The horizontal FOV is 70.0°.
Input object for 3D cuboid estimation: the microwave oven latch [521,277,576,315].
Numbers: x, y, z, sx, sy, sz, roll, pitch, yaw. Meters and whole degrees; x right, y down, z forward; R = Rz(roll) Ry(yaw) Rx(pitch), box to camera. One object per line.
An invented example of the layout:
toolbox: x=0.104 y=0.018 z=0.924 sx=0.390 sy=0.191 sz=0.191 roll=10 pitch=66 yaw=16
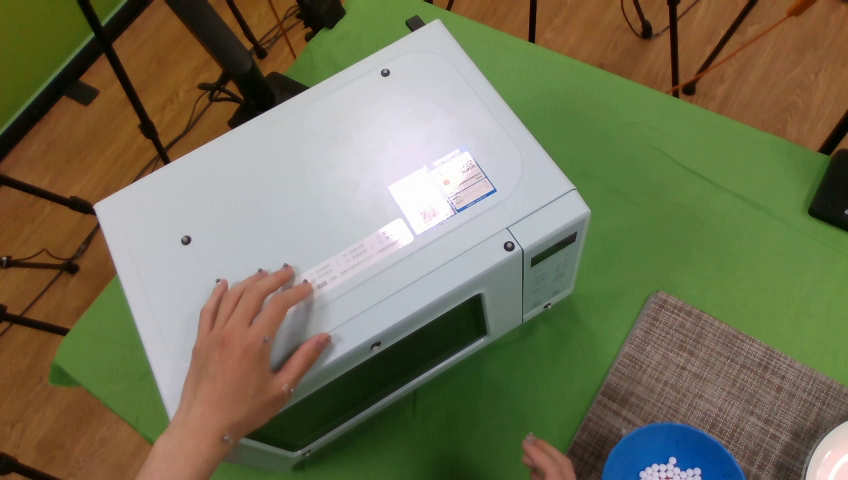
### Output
microwave oven latch: x=0.154 y=0.064 z=0.772 sx=0.079 sy=0.030 sz=0.030 roll=-29 pitch=66 yaw=-4

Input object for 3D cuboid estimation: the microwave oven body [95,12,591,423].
microwave oven body: x=-0.085 y=0.001 z=0.729 sx=0.442 sy=0.262 sz=0.323 roll=-31 pitch=66 yaw=-5

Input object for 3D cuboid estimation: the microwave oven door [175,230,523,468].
microwave oven door: x=-0.051 y=0.131 z=0.660 sx=0.356 sy=0.246 sz=0.039 roll=-31 pitch=65 yaw=-5

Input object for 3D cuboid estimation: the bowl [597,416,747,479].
bowl: x=0.261 y=0.273 z=0.656 sx=0.151 sy=0.077 sz=0.150 roll=-3 pitch=65 yaw=7

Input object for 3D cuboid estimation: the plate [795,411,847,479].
plate: x=0.501 y=0.282 z=0.639 sx=0.207 sy=0.039 sz=0.206 roll=-3 pitch=66 yaw=7
